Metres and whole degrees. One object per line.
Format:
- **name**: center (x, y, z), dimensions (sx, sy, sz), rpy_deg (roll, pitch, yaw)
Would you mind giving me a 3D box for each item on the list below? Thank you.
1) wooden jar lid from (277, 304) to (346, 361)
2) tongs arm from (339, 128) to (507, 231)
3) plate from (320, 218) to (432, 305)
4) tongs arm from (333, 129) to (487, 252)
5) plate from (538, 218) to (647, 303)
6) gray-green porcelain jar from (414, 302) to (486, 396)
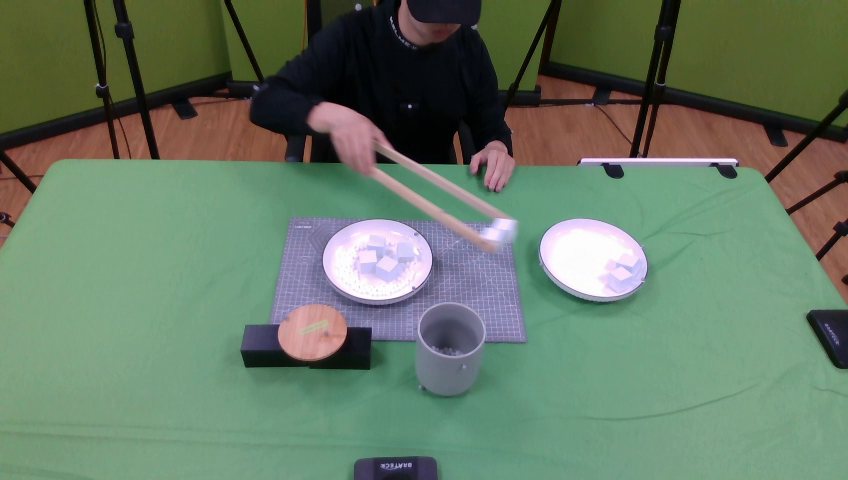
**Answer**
- **wooden jar lid**: center (-0.179, 0.150, 0.972), dimensions (0.108, 0.021, 0.107), rpy_deg (2, 45, -2)
- **tongs arm**: center (-0.007, -0.120, 1.155), dimensions (0.386, 0.028, 0.028), rpy_deg (32, 59, 17)
- **plate**: center (-0.089, 0.044, 1.134), dimensions (0.209, 0.038, 0.208), rpy_deg (3, 46, -2)
- **tongs arm**: center (-0.032, -0.098, 1.133), dimensions (0.383, 0.026, 0.050), rpy_deg (33, 55, 18)
- **plate**: center (0.322, 0.042, 1.171), dimensions (0.208, 0.039, 0.206), rpy_deg (2, 46, -2)
- **gray-green porcelain jar**: center (0.038, 0.177, 0.958), dimensions (0.106, 0.127, 0.105), rpy_deg (2, 46, -2)
